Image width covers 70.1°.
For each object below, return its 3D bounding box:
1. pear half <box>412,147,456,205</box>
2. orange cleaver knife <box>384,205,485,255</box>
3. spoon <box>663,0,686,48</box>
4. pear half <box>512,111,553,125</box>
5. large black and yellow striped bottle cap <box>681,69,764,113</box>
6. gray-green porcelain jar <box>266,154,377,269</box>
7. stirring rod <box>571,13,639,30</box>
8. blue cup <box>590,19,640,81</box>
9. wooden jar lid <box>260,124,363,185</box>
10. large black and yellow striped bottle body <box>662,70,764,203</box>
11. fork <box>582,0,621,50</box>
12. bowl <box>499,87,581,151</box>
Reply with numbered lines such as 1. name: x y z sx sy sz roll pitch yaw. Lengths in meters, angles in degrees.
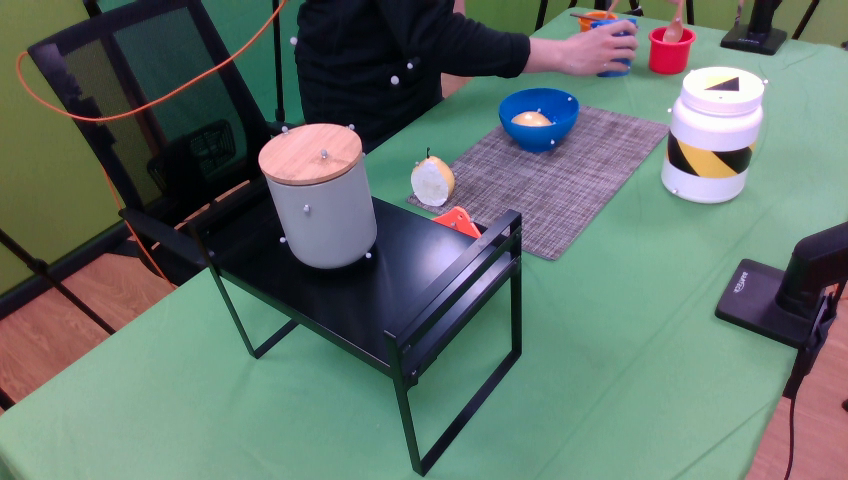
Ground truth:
1. pear half: 0.019 -0.120 1.042 0.076 0.110 0.056 11 44 16
2. orange cleaver knife: 0.012 -0.010 0.942 0.012 0.077 0.210 -37 19 -35
3. spoon: 0.559 -0.509 1.300 0.022 0.194 0.041 -1 20 -42
4. pear half: 0.212 -0.228 1.152 0.088 0.031 0.070 7 45 10
5. large black and yellow striped bottle cap: 0.453 -0.229 0.921 0.115 0.019 0.114 -4 39 4
6. gray-green porcelain jar: -0.112 -0.039 0.685 0.106 0.127 0.105 -4 40 4
7. stirring rod: 0.418 -0.508 1.404 0.174 0.006 0.014 29 55 35
8. blue cup: 0.366 -0.362 1.159 0.092 0.100 0.092 -11 22 5
9. wooden jar lid: -0.119 -0.088 0.645 0.108 0.021 0.108 -4 40 4
10. large black and yellow striped bottle body: 0.464 -0.166 0.976 0.131 0.185 0.130 -5 41 5
11. fork: 0.446 -0.539 1.437 0.207 0.019 0.028 -57 35 12
12. bowl: 0.220 -0.223 1.156 0.151 0.077 0.150 -4 40 4
